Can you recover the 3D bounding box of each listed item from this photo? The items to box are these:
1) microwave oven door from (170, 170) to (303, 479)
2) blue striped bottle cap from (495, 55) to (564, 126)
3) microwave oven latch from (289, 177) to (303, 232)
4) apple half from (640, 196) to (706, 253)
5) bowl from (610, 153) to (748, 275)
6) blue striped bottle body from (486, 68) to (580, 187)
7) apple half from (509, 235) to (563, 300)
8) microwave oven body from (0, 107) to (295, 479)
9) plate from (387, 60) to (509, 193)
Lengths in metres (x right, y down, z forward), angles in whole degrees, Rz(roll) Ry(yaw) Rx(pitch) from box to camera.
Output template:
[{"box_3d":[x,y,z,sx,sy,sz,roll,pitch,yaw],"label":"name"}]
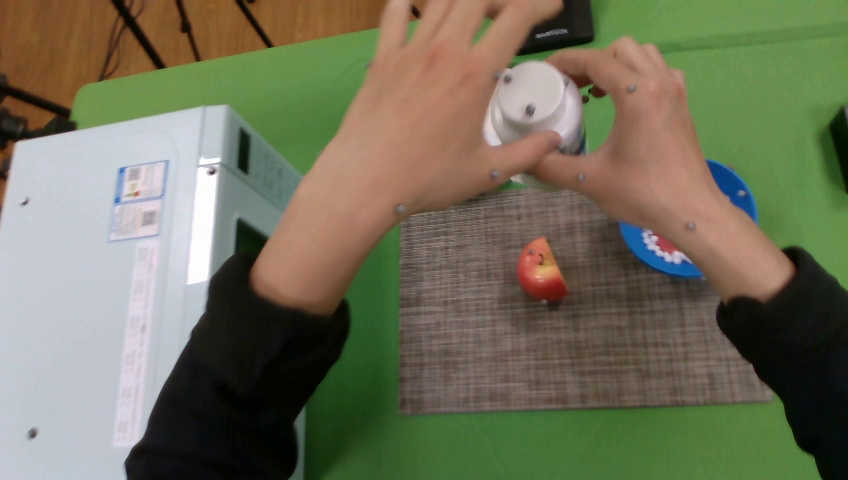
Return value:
[{"box_3d":[-0.211,0.124,0.728,0.039,0.246,0.353,-8,71,13],"label":"microwave oven door"},{"box_3d":[0.069,-0.099,0.399,0.044,0.021,0.044,-3,79,17],"label":"blue striped bottle cap"},{"box_3d":[-0.195,-0.051,0.890,0.030,0.030,0.078,-9,71,11],"label":"microwave oven latch"},{"box_3d":[0.305,-0.023,0.738,0.081,0.033,0.081,-5,70,13],"label":"apple half"},{"box_3d":[0.305,-0.022,0.743,0.151,0.077,0.150,-5,72,14],"label":"bowl"},{"box_3d":[0.082,-0.086,0.448,0.063,0.121,0.063,-3,77,15],"label":"blue striped bottle body"},{"box_3d":[0.137,0.042,0.770,0.053,0.075,0.080,-26,72,10],"label":"apple half"},{"box_3d":[-0.354,0.105,0.777,0.325,0.262,0.438,-7,72,12],"label":"microwave oven body"},{"box_3d":[0.050,-0.161,0.881,0.207,0.039,0.206,-4,72,13],"label":"plate"}]
